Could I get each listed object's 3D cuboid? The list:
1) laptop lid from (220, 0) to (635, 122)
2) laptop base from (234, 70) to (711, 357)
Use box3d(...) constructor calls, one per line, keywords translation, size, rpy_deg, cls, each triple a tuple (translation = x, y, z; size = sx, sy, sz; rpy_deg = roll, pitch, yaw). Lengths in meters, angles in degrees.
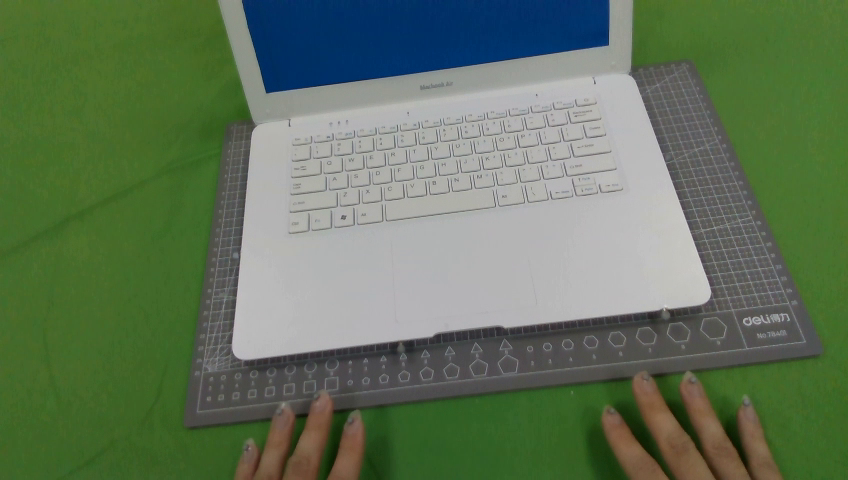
box3d(translation=(0.000, -0.229, 0.506), size=(0.356, 0.244, 0.013), rpy_deg=(-8, 30, 3), cls="laptop lid")
box3d(translation=(0.025, -0.031, 0.503), size=(0.354, 0.023, 0.233), rpy_deg=(-7, 61, 3), cls="laptop base")
